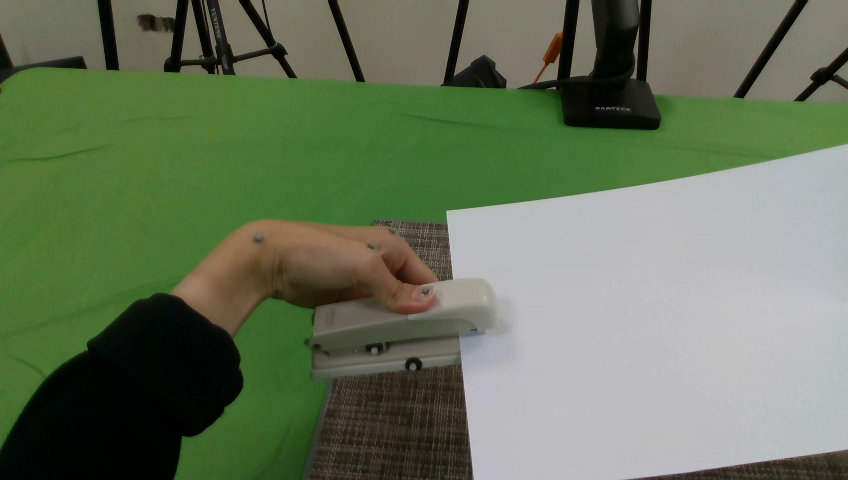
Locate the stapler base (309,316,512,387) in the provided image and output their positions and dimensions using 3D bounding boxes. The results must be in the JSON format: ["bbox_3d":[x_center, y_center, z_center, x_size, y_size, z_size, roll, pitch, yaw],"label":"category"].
[{"bbox_3d":[-0.010,0.064,0.384,0.130,0.025,0.041,-7,40,1],"label":"stapler base"}]

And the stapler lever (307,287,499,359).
[{"bbox_3d":[-0.013,0.051,0.372,0.118,0.040,0.026,-2,40,-3],"label":"stapler lever"}]
